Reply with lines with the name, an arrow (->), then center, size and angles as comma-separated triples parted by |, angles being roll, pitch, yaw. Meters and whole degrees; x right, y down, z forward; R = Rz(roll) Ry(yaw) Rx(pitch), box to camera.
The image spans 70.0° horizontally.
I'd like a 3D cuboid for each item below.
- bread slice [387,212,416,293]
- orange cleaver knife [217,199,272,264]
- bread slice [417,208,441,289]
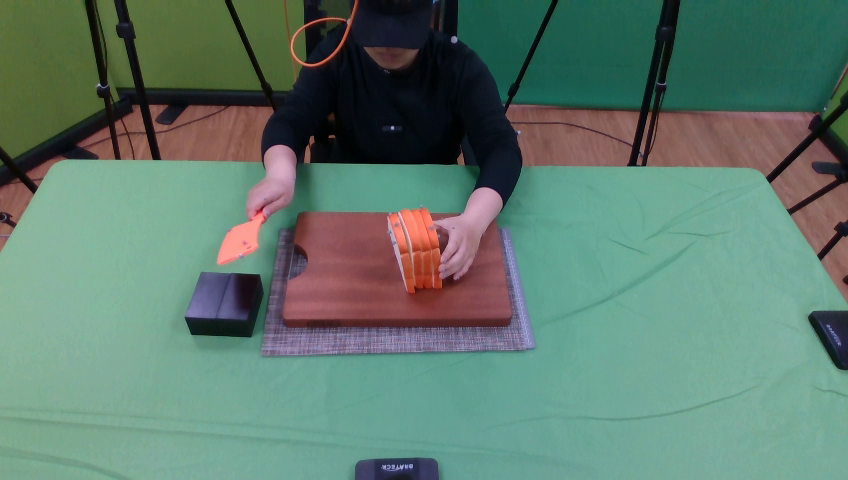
bread slice -> -0.041, 0.016, 1.067 | 0.019, 0.132, 0.104 | -16, 46, -6
orange cleaver knife -> -0.315, -0.018, 1.072 | 0.077, 0.012, 0.210 | -17, 28, 6
bread slice -> 0.008, 0.011, 1.075 | 0.018, 0.135, 0.106 | -13, 51, -9
